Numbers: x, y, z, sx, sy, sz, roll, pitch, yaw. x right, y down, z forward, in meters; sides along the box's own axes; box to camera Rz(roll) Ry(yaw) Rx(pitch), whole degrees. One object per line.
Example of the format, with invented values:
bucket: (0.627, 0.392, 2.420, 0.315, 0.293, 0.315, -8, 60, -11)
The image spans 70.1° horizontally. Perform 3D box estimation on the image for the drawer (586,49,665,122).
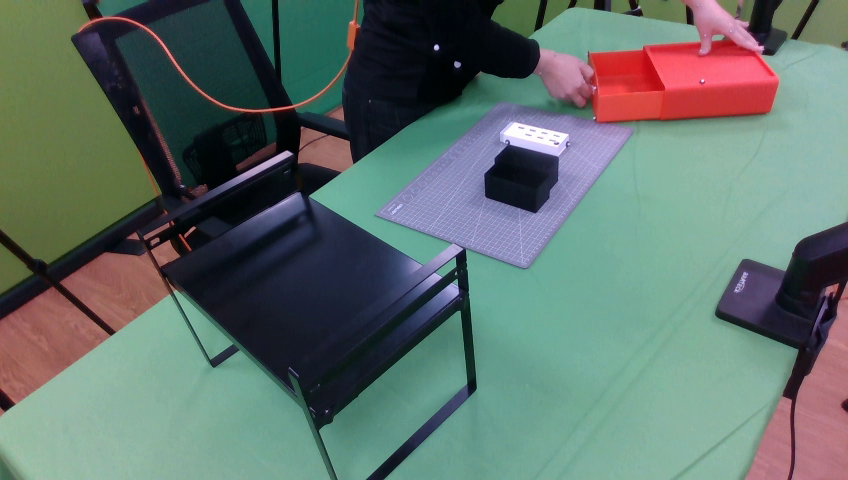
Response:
drawer: (0.447, -0.323, 1.241, 0.211, 0.073, 0.193, -1, 40, 7)

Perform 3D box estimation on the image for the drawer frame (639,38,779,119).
drawer frame: (0.564, -0.330, 1.226, 0.213, 0.083, 0.201, -2, 41, 5)

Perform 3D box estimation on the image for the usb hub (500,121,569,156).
usb hub: (0.213, -0.198, 1.166, 0.124, 0.025, 0.049, 20, 48, 28)
